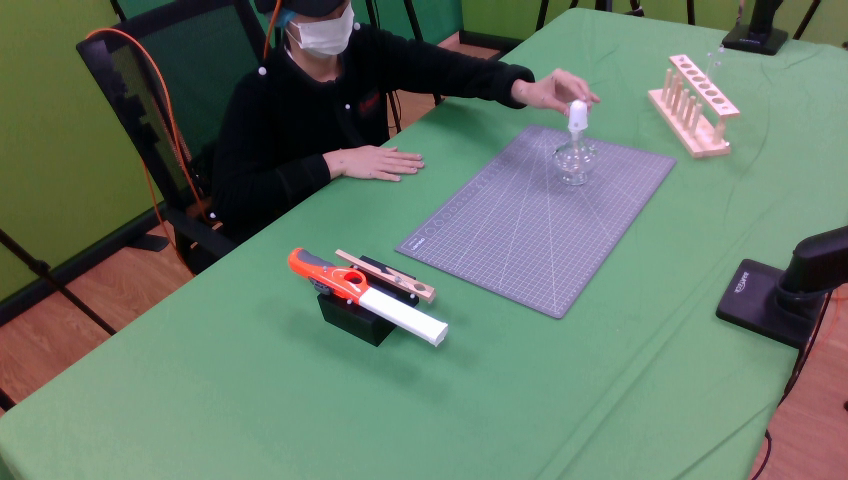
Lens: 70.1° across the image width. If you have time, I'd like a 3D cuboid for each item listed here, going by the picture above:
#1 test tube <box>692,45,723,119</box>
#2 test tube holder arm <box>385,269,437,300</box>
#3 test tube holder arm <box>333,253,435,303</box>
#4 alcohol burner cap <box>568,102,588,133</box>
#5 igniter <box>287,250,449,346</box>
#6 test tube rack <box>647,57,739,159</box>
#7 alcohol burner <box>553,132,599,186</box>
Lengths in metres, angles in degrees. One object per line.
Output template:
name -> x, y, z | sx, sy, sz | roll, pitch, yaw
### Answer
test tube -> 0.517, -0.285, 1.106 | 0.017, 0.151, 0.017 | -2, 46, 3
test tube holder arm -> -0.020, 0.061, 0.834 | 0.087, 0.015, 0.010 | 20, 51, 29
test tube holder arm -> -0.060, 0.052, 0.853 | 0.177, 0.015, 0.013 | 19, 51, 28
alcohol burner cap -> 0.255, -0.204, 1.001 | 0.034, 0.048, 0.033 | -6, 34, 5
igniter -> -0.087, 0.073, 0.825 | 0.274, 0.025, 0.057 | 23, 48, 28
test tube rack -> 0.504, -0.257, 1.153 | 0.067, 0.085, 0.241 | -8, 40, 1
alcohol burner -> 0.261, -0.153, 1.042 | 0.078, 0.119, 0.077 | -6, 40, 6
